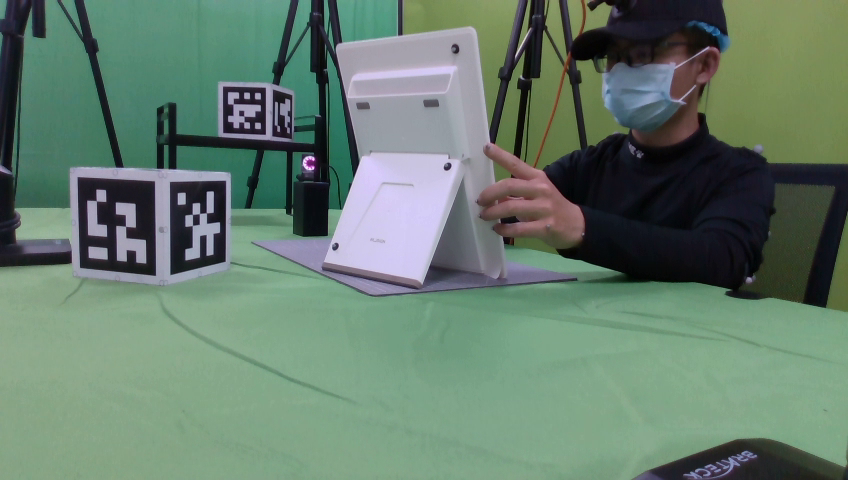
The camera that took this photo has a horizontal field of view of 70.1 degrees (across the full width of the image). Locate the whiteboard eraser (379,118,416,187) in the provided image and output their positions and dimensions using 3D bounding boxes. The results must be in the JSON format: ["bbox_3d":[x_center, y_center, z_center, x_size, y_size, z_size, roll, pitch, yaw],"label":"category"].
[{"bbox_3d":[-0.035,-0.116,0.811,0.041,0.101,0.019,23,51,33],"label":"whiteboard eraser"}]

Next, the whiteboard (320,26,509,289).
[{"bbox_3d":[-0.046,-0.076,0.720,0.216,0.305,0.144,9,29,39],"label":"whiteboard"}]
